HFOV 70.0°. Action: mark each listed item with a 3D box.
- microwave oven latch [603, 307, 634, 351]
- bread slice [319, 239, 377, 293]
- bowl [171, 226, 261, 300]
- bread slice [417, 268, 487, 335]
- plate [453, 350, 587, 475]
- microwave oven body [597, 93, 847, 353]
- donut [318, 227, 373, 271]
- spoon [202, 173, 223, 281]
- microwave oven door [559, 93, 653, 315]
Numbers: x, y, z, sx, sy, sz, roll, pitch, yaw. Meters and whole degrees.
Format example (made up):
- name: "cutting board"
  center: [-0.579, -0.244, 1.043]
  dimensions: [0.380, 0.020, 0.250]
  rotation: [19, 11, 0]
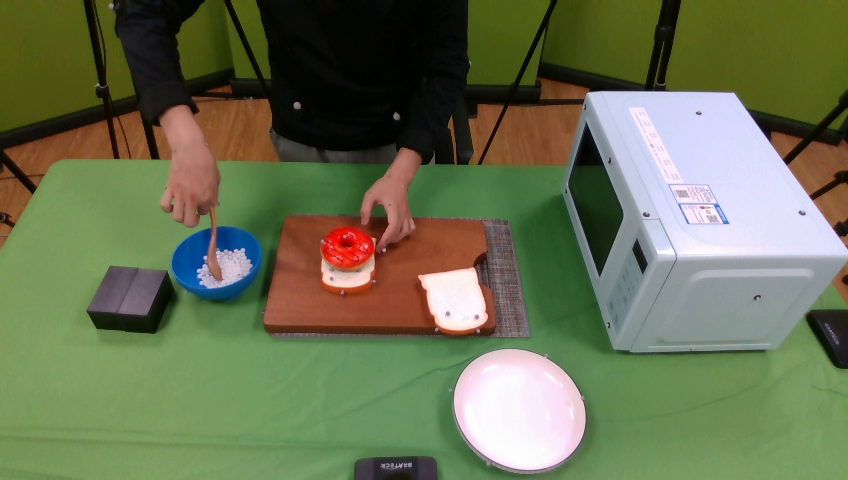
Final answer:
- name: "microwave oven latch"
  center: [0.332, 0.153, 1.044]
  dimensions: [0.030, 0.029, 0.078]
  rotation: [0, 45, -3]
- name: "bread slice"
  center: [-0.140, 0.044, 1.111]
  dimensions: [0.105, 0.019, 0.130]
  rotation: [0, 44, -3]
- name: "bowl"
  center: [-0.363, 0.054, 1.080]
  dimensions: [0.151, 0.077, 0.150]
  rotation: [3, 46, -3]
- name: "bread slice"
  center: [0.055, 0.107, 1.063]
  dimensions: [0.107, 0.018, 0.133]
  rotation: [-9, 48, -12]
- name: "plate"
  center: [0.147, 0.267, 0.943]
  dimensions: [0.208, 0.039, 0.206]
  rotation: [2, 46, -2]
- name: "microwave oven body"
  center: [0.475, -0.041, 1.109]
  dimensions: [0.326, 0.261, 0.438]
  rotation: [-1, 45, -4]
- name: "donut"
  center: [-0.142, 0.017, 1.096]
  dimensions: [0.099, 0.048, 0.098]
  rotation: [2, 44, -2]
- name: "spoon"
  center: [-0.377, -0.023, 1.079]
  dimensions: [0.021, 0.041, 0.193]
  rotation: [-4, 88, 3]
- name: "microwave oven door"
  center: [0.327, -0.074, 1.123]
  dimensions: [0.039, 0.245, 0.353]
  rotation: [-1, 46, -5]
